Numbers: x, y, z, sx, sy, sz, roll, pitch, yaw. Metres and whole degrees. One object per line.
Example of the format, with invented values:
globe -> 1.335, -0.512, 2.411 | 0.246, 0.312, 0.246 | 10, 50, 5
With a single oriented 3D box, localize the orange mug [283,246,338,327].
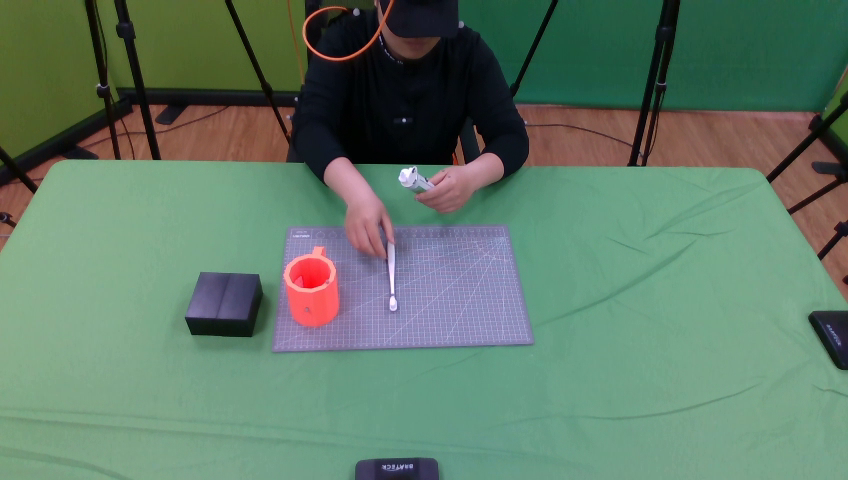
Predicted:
orange mug -> -0.192, 0.074, 1.056 | 0.083, 0.101, 0.125 | 5, 50, 1

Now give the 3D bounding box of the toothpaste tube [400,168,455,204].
toothpaste tube -> 0.003, -0.099, 1.164 | 0.055, 0.166, 0.034 | 6, 77, 30

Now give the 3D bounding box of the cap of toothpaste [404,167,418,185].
cap of toothpaste -> -0.024, -0.115, 1.079 | 0.011, 0.037, 0.037 | 33, 53, 20

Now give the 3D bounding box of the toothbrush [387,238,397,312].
toothbrush -> -0.061, 0.060, 1.136 | 0.014, 0.017, 0.180 | -9, 45, 4
